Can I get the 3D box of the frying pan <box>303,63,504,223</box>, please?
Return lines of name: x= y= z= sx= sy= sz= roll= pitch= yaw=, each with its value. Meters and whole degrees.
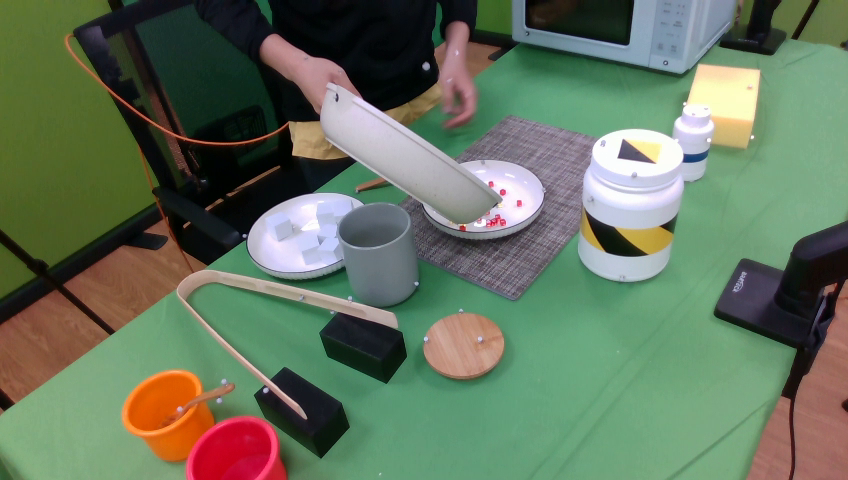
frying pan: x=-0.078 y=-0.171 z=0.918 sx=0.102 sy=0.310 sz=0.483 roll=-50 pitch=48 yaw=9

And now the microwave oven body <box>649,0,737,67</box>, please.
microwave oven body: x=0.475 y=-0.602 z=1.411 sx=0.438 sy=0.261 sz=0.327 roll=23 pitch=50 yaw=32

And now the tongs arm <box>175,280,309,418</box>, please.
tongs arm: x=-0.254 y=0.133 z=0.800 sx=0.028 sy=0.028 sz=0.384 roll=-41 pitch=40 yaw=-23

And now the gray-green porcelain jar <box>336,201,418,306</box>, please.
gray-green porcelain jar: x=-0.064 y=0.024 z=0.872 sx=0.106 sy=0.127 sz=0.105 roll=-4 pitch=41 yaw=4

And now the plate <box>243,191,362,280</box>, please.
plate: x=-0.187 y=-0.005 z=0.992 sx=0.207 sy=0.039 sz=0.206 roll=-4 pitch=41 yaw=4

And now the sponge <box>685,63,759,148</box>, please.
sponge: x=0.569 y=-0.263 z=1.164 sx=0.117 sy=0.061 sz=0.207 roll=12 pitch=45 yaw=22

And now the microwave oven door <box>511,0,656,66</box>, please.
microwave oven door: x=0.351 y=-0.540 z=1.349 sx=0.353 sy=0.245 sz=0.039 roll=24 pitch=50 yaw=31

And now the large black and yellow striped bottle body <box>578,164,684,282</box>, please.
large black and yellow striped bottle body: x=0.291 y=-0.046 z=0.858 sx=0.131 sy=0.185 sz=0.130 roll=-4 pitch=41 yaw=4

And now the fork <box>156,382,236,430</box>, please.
fork: x=-0.262 y=0.189 z=0.690 sx=0.018 sy=0.206 sz=0.028 roll=49 pitch=43 yaw=-7

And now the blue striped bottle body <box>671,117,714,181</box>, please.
blue striped bottle body: x=0.449 y=-0.165 z=1.022 sx=0.063 sy=0.121 sz=0.063 roll=-5 pitch=41 yaw=4

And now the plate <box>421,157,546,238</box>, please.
plate: x=0.099 y=-0.067 z=1.017 sx=0.209 sy=0.038 sz=0.208 roll=-4 pitch=40 yaw=4

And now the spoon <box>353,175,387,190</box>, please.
spoon: x=-0.038 y=-0.123 z=1.116 sx=0.194 sy=0.022 sz=0.041 roll=-12 pitch=59 yaw=-4

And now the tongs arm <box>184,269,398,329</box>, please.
tongs arm: x=-0.202 y=0.085 z=0.847 sx=0.382 sy=0.027 sz=0.051 roll=11 pitch=44 yaw=34

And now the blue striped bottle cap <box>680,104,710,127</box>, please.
blue striped bottle cap: x=0.443 y=-0.205 z=0.989 sx=0.044 sy=0.021 sz=0.044 roll=-1 pitch=41 yaw=2

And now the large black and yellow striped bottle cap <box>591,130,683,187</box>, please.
large black and yellow striped bottle cap: x=0.282 y=-0.111 z=0.803 sx=0.115 sy=0.019 sz=0.114 roll=-3 pitch=41 yaw=3

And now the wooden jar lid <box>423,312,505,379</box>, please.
wooden jar lid: x=0.053 y=0.142 z=0.800 sx=0.108 sy=0.021 sz=0.108 roll=-5 pitch=39 yaw=4

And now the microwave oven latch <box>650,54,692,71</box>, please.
microwave oven latch: x=0.531 y=-0.386 z=1.301 sx=0.078 sy=0.029 sz=0.030 roll=24 pitch=50 yaw=32
